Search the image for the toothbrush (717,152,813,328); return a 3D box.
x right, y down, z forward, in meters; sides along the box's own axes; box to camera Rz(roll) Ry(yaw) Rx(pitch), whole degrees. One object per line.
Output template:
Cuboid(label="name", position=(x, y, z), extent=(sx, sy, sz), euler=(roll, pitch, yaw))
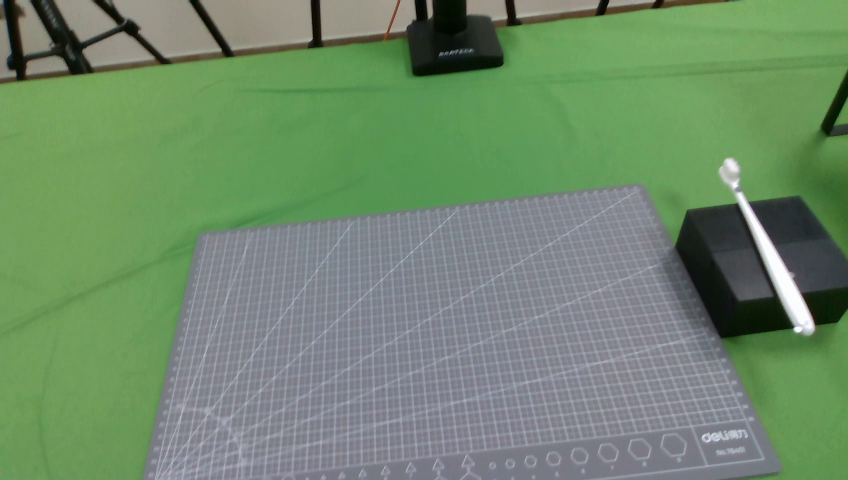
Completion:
Cuboid(label="toothbrush", position=(0.270, -0.008, 0.484), extent=(0.014, 0.017, 0.180), euler=(-1, 49, 1))
